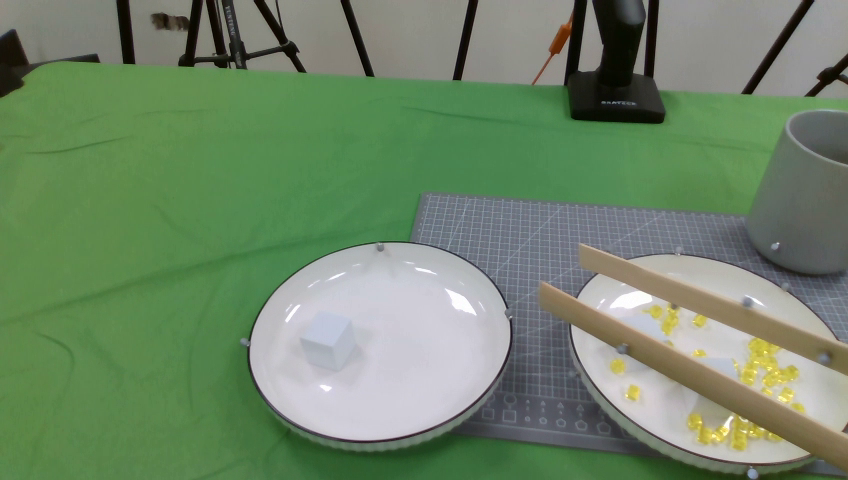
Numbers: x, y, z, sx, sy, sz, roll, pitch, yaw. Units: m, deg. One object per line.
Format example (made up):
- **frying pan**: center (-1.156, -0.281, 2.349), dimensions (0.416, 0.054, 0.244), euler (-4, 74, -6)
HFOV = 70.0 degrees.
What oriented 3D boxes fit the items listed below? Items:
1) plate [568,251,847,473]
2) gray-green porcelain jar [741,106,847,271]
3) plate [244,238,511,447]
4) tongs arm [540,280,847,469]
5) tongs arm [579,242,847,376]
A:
- **plate**: center (0.217, 0.090, 0.476), dimensions (0.208, 0.039, 0.205), euler (0, 40, 0)
- **gray-green porcelain jar**: center (0.364, -0.043, 0.561), dimensions (0.106, 0.127, 0.105), euler (0, 41, 1)
- **plate**: center (-0.035, 0.079, 0.491), dimensions (0.209, 0.038, 0.207), euler (-1, 40, 1)
- **tongs arm**: center (0.230, 0.105, 0.326), dimensions (0.384, 0.028, 0.028), euler (25, 47, 33)
- **tongs arm**: center (0.251, 0.087, 0.342), dimensions (0.381, 0.027, 0.050), euler (24, 50, 32)
